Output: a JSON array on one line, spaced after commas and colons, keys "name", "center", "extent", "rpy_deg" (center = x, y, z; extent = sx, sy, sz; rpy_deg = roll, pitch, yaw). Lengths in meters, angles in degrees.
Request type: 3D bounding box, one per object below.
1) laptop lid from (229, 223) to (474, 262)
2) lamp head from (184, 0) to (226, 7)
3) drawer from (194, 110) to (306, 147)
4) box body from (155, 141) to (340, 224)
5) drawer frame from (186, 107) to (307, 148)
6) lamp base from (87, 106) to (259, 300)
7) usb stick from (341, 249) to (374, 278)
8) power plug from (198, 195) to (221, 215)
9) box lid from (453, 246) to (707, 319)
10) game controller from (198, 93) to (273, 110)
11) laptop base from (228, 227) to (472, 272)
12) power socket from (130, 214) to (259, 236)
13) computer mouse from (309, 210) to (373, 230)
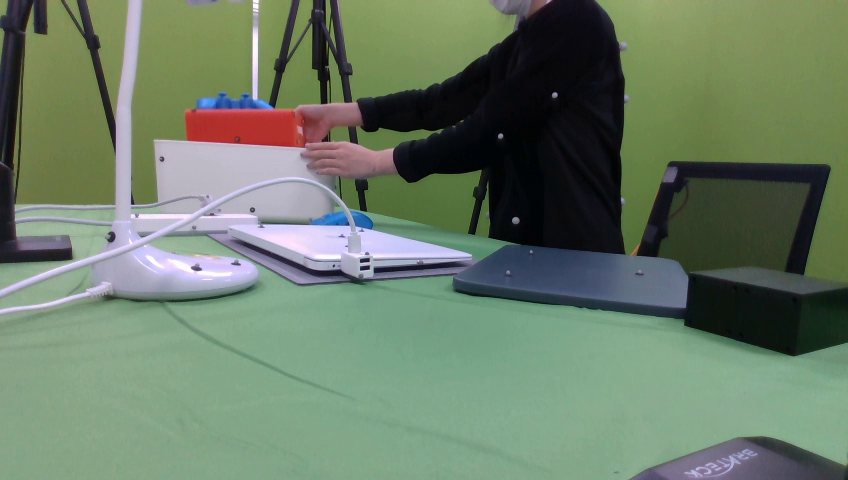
[{"name": "laptop lid", "center": [-0.121, 0.000, 0.888], "extent": [0.243, 0.013, 0.355], "rpy_deg": [1, 7, -33]}, {"name": "lamp head", "center": [-0.229, -0.320, 0.627], "extent": [0.112, 0.112, 0.123], "rpy_deg": [6, -35, 26]}, {"name": "drawer", "center": [-0.368, -0.236, 1.306], "extent": [0.212, 0.073, 0.194], "rpy_deg": [-3, 9, -5]}, {"name": "box body", "center": [-0.374, -0.129, 1.339], "extent": [0.365, 0.160, 0.253], "rpy_deg": [2, 7, -8]}, {"name": "drawer frame", "center": [-0.371, -0.236, 1.305], "extent": [0.214, 0.082, 0.201], "rpy_deg": [-3, 7, -5]}, {"name": "lamp base", "center": [-0.254, -0.039, 0.603], "extent": [0.160, 0.180, 0.179], "rpy_deg": [4, 10, 18]}, {"name": "usb stick", "center": [-0.079, 0.026, 0.687], "extent": [0.021, 0.027, 0.059], "rpy_deg": [-7, 9, -31]}, {"name": "power plug", "center": [-0.386, -0.055, 1.088], "extent": [0.035, 0.052, 0.072], "rpy_deg": [-2, 7, -23]}, {"name": "box lid", "center": [0.203, 0.044, 0.780], "extent": [0.262, 0.015, 0.372], "rpy_deg": [5, 7, 17]}, {"name": "game controller", "center": [-0.403, -0.285, 1.292], "extent": [0.156, 0.051, 0.096], "rpy_deg": [-4, 3, -30]}, {"name": "laptop base", "center": [-0.124, 0.011, 0.889], "extent": [0.237, 0.023, 0.352], "rpy_deg": [2, 6, -35]}, {"name": "power socket", "center": [-0.397, -0.028, 1.048], "extent": [0.228, 0.032, 0.072], "rpy_deg": [-3, 7, -35]}, {"name": "computer mouse", "center": [-0.157, -0.034, 1.139], "extent": [0.118, 0.041, 0.062], "rpy_deg": [-6, 12, -28]}]
